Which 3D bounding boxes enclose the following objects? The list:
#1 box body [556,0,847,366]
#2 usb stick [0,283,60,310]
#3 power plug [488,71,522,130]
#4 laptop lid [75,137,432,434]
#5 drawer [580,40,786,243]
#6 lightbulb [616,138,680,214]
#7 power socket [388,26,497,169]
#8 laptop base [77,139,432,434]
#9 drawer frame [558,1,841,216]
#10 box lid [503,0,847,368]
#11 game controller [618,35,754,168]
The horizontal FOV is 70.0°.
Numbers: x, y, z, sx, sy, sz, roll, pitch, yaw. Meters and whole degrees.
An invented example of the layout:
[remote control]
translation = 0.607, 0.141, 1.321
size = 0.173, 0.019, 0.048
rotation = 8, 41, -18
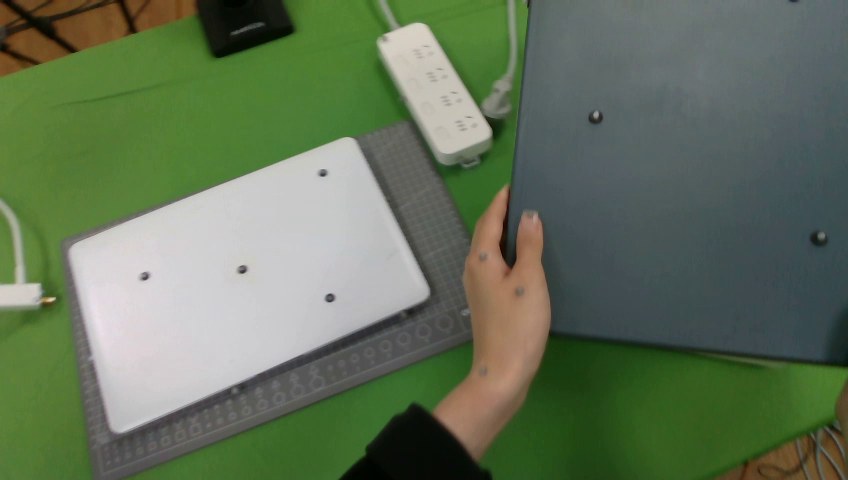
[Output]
[box body]
translation = 0.283, -0.072, 0.625
size = 0.254, 0.161, 0.361
rotation = 9, 65, 8
[usb stick]
translation = -0.438, 0.063, 0.672
size = 0.059, 0.021, 0.027
rotation = 4, 63, -31
[power plug]
translation = 0.109, -0.171, 0.754
size = 0.035, 0.053, 0.072
rotation = 36, 53, 23
[laptop lid]
translation = -0.194, 0.034, 0.670
size = 0.357, 0.013, 0.239
rotation = -22, 67, -7
[drawer]
translation = 0.285, -0.112, 0.673
size = 0.194, 0.074, 0.210
rotation = 8, 70, 10
[lightbulb]
translation = 0.242, -0.075, 0.671
size = 0.059, 0.060, 0.106
rotation = -11, 50, -1
[power socket]
translation = 0.020, -0.186, 0.771
size = 0.072, 0.033, 0.224
rotation = -22, 64, -8
[laptop base]
translation = -0.194, 0.037, 0.681
size = 0.354, 0.023, 0.233
rotation = -23, 68, -8
[drawer frame]
translation = 0.266, -0.120, 0.627
size = 0.202, 0.212, 0.083
rotation = 44, 85, -13
[box lid]
translation = 0.204, -0.098, 0.457
size = 0.263, 0.015, 0.369
rotation = 5, 70, 8
[game controller]
translation = 0.282, -0.156, 0.649
size = 0.097, 0.052, 0.153
rotation = -12, 63, -5
